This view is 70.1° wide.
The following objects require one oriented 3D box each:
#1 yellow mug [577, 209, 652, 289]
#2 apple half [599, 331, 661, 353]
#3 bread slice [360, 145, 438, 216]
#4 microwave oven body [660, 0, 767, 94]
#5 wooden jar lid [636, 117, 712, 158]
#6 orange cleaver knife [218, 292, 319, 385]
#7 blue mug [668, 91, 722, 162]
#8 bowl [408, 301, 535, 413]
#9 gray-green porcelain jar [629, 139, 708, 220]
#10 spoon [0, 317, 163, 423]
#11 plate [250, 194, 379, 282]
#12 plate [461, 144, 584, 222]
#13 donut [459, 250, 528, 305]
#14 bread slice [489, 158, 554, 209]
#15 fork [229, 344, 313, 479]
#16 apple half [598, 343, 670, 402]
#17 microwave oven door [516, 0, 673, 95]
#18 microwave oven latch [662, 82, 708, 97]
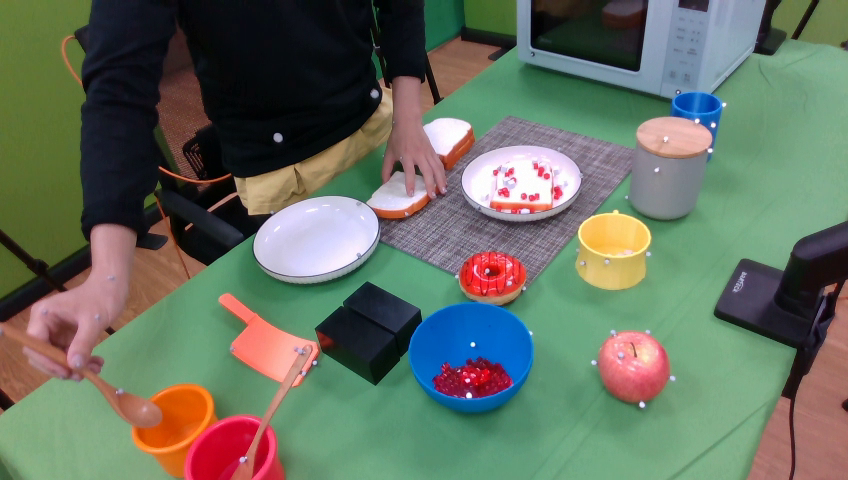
[{"bbox_3d":[0.280,0.005,0.893,0.099,0.064,0.130,5,41,15],"label":"yellow mug"},{"bbox_3d":[0.249,0.134,0.738,0.081,0.081,0.032,-1,46,7],"label":"apple half"},{"bbox_3d":[-0.052,-0.103,1.046,0.106,0.018,0.134,18,67,22],"label":"bread slice"},{"bbox_3d":[0.474,-0.517,1.313,0.438,0.261,0.327,26,51,34],"label":"microwave oven body"},{"bbox_3d":[0.377,-0.151,0.917,0.108,0.021,0.108,-2,42,2],"label":"wooden jar lid"},{"bbox_3d":[-0.235,0.136,0.850,0.209,0.012,0.077,25,56,30],"label":"orange cleaver knife"},{"bbox_3d":[0.474,-0.207,1.079,0.082,0.106,0.116,4,42,13],"label":"blue mug"},{"bbox_3d":[0.060,0.156,0.739,0.151,0.077,0.150,-4,40,4],"label":"bowl"},{"bbox_3d":[0.383,-0.104,0.958,0.106,0.127,0.105,-4,41,4],"label":"gray-green porcelain jar"},{"bbox_3d":[-0.348,0.135,0.623,0.021,0.195,0.041,-31,34,8],"label":"spoon"},{"bbox_3d":[-0.174,-0.001,0.984,0.209,0.038,0.208,-3,40,3],"label":"plate"},{"bbox_3d":[0.168,-0.095,1.040,0.207,0.039,0.206,-4,40,4],"label":"plate"},{"bbox_3d":[0.100,0.053,0.873,0.099,0.048,0.098,-5,40,4],"label":"donut"},{"bbox_3d":[0.172,-0.100,1.046,0.104,0.019,0.131,3,41,12],"label":"bread slice"},{"bbox_3d":[-0.173,0.205,0.662,0.028,0.019,0.207,29,94,36],"label":"fork"},{"bbox_3d":[0.247,0.161,0.710,0.081,0.075,0.053,2,47,5],"label":"apple half"},{"bbox_3d":[0.344,-0.458,1.256,0.353,0.245,0.039,26,51,33],"label":"microwave oven door"},{"bbox_3d":[0.518,-0.298,1.203,0.078,0.029,0.030,28,53,35],"label":"microwave oven latch"}]
